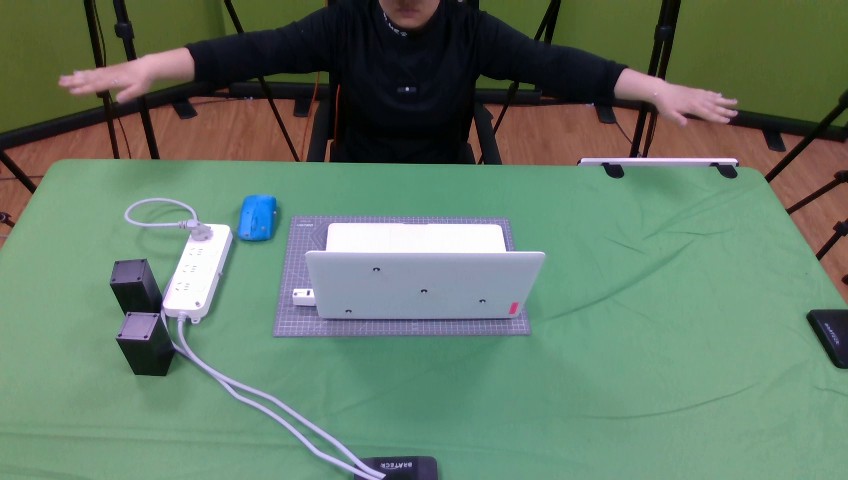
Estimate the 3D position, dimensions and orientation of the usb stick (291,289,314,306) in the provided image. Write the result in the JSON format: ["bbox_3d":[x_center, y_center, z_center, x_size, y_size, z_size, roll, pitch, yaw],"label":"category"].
[{"bbox_3d":[-0.203,0.101,1.067,0.059,0.027,0.021,4,46,-5],"label":"usb stick"}]

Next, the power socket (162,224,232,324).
[{"bbox_3d":[-0.411,0.052,1.106,0.072,0.033,0.225,3,45,-1],"label":"power socket"}]

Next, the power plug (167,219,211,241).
[{"bbox_3d":[-0.438,-0.017,1.143,0.072,0.053,0.035,10,43,7],"label":"power plug"}]

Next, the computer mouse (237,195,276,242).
[{"bbox_3d":[-0.333,-0.047,1.207,0.063,0.041,0.116,3,50,-5],"label":"computer mouse"}]

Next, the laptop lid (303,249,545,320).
[{"bbox_3d":[-0.003,0.076,0.962,0.357,0.242,0.013,1,58,-5],"label":"laptop lid"}]

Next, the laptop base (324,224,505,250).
[{"bbox_3d":[-0.014,0.055,1.144,0.355,0.023,0.234,0,42,-4],"label":"laptop base"}]
